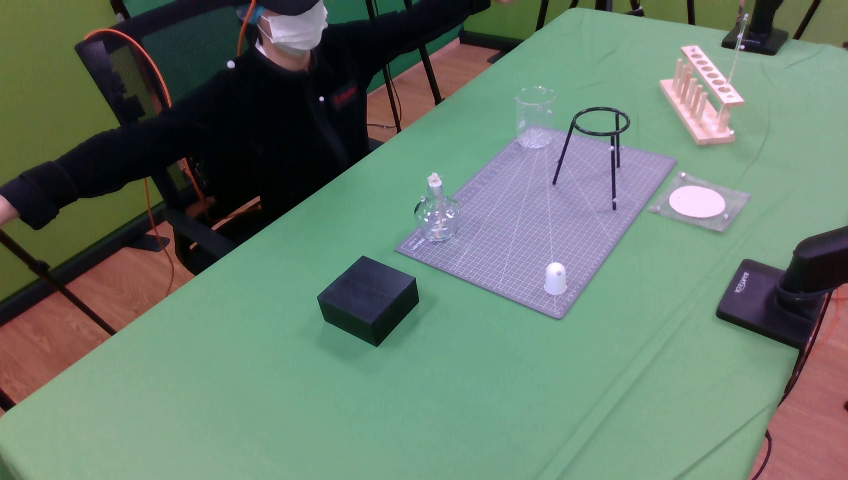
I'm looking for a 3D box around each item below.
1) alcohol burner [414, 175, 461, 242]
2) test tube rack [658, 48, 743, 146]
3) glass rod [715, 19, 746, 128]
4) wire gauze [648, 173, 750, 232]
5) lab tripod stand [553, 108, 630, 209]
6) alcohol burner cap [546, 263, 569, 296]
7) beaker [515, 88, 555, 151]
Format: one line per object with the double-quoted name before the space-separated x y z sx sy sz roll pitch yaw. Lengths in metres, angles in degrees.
"alcohol burner" 0.021 -0.055 0.963 0.078 0.119 0.077 -3 41 4
"test tube rack" 0.532 -0.284 1.180 0.067 0.085 0.241 -5 40 4
"glass rod" 0.549 -0.293 1.085 0.008 0.200 0.008 -1 33 1
"wire gauze" 0.451 -0.062 0.990 0.120 0.011 0.125 26 49 32
"lab tripod stand" 0.292 -0.144 1.010 0.148 0.132 0.147 -5 38 4
"alcohol burner cap" 0.191 0.053 0.862 0.034 0.048 0.033 -5 40 4
"beaker" 0.213 -0.230 1.152 0.073 0.101 0.084 20 47 29
